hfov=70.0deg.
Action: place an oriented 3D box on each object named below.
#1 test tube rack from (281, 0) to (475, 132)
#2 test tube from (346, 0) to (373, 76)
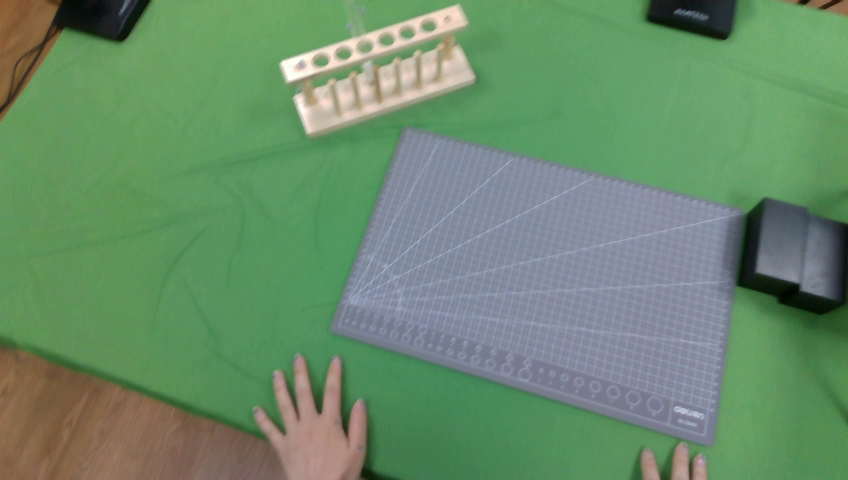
[{"bbox_3d":[-0.055,-0.229,0.801,0.242,0.086,0.066,-20,70,-6],"label":"test tube rack"},{"bbox_3d":[-0.079,-0.257,0.759,0.017,0.151,0.017,-1,66,4],"label":"test tube"}]
